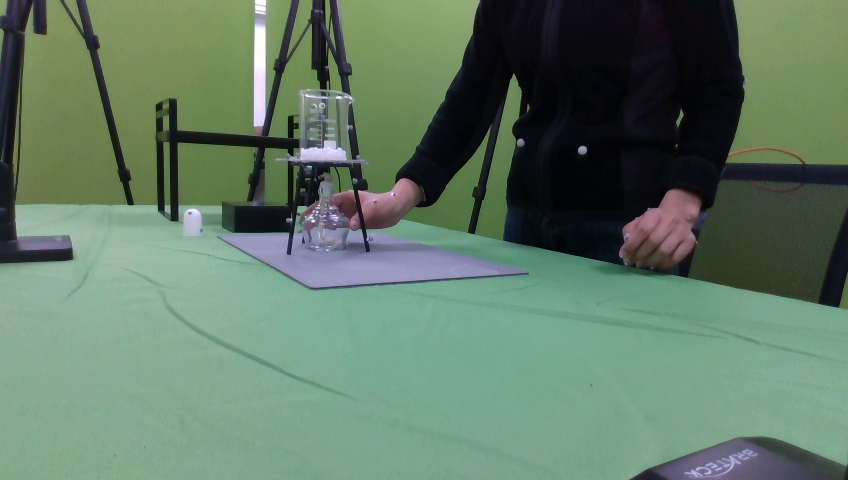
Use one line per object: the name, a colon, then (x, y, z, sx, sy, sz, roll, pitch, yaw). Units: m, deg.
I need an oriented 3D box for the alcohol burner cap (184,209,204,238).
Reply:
alcohol burner cap: (-0.390, -0.029, 1.025, 0.034, 0.048, 0.034, 2, 8, 0)

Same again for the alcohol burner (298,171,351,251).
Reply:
alcohol burner: (-0.149, -0.044, 0.911, 0.078, 0.119, 0.078, 2, 6, 0)

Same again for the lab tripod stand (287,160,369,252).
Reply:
lab tripod stand: (-0.157, -0.053, 0.901, 0.148, 0.131, 0.148, 0, 7, 0)

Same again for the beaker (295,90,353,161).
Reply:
beaker: (-0.146, -0.164, 0.884, 0.084, 0.100, 0.074, 1, 7, -6)

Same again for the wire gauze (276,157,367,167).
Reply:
wire gauze: (-0.148, -0.117, 0.895, 0.121, 0.011, 0.125, 3, 5, -3)
